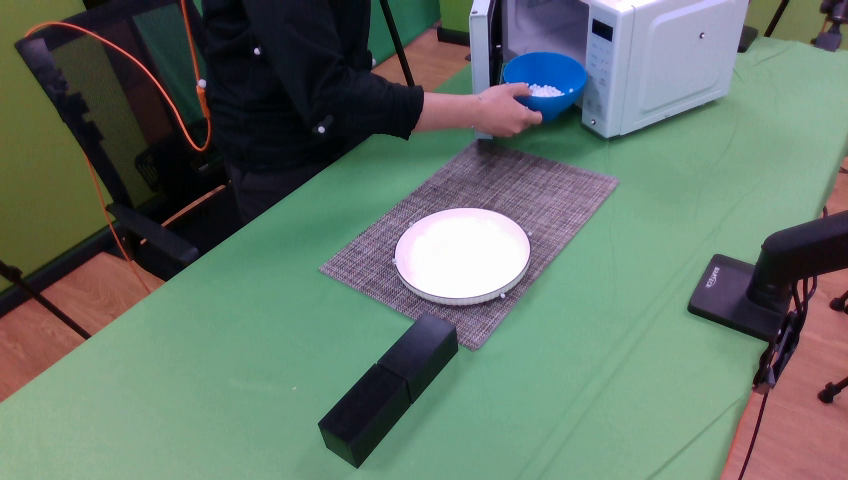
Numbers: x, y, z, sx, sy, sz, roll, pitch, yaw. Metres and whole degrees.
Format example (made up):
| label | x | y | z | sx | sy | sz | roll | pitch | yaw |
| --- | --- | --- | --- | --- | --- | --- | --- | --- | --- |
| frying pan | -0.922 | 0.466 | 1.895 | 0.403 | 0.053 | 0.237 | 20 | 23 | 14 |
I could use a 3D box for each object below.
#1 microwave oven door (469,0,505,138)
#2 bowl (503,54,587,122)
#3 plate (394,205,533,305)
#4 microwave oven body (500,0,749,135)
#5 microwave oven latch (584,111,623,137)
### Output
| label | x | y | z | sx | sy | sz | roll | pitch | yaw |
| --- | --- | --- | --- | --- | --- | --- | --- | --- | --- |
| microwave oven door | 0.133 | -0.403 | 1.225 | 0.039 | 0.245 | 0.354 | 1 | 41 | 11 |
| bowl | 0.220 | -0.273 | 1.121 | 0.151 | 0.077 | 0.150 | -1 | 46 | 1 |
| plate | 0.059 | 0.025 | 0.915 | 0.207 | 0.039 | 0.206 | -4 | 41 | 4 |
| microwave oven body | 0.382 | -0.444 | 1.246 | 0.327 | 0.261 | 0.437 | -22 | 42 | -16 |
| microwave oven latch | 0.337 | -0.222 | 1.142 | 0.030 | 0.029 | 0.078 | -21 | 42 | -14 |
